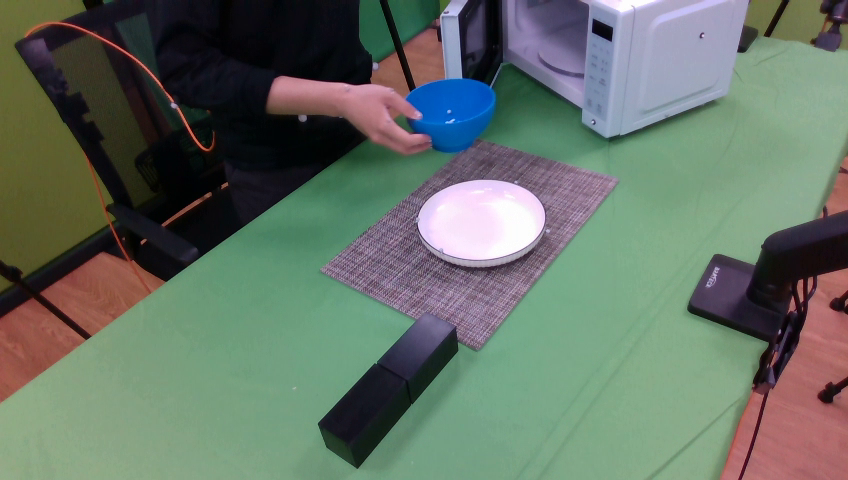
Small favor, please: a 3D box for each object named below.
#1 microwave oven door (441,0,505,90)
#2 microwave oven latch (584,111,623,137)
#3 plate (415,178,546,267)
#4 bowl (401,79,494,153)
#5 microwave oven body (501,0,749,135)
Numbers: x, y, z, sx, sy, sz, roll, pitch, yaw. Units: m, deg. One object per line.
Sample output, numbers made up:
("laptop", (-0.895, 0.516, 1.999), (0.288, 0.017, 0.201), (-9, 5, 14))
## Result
("microwave oven door", (0.108, -0.405, 1.231), (0.039, 0.245, 0.355), (7, 43, 17))
("microwave oven latch", (0.337, -0.222, 1.142), (0.030, 0.029, 0.078), (-21, 42, -14))
("plate", (0.091, -0.026, 0.970), (0.207, 0.039, 0.206), (-4, 41, 4))
("bowl", (0.042, -0.195, 0.994), (0.151, 0.077, 0.150), (-4, 41, 4))
("microwave oven body", (0.382, -0.444, 1.246), (0.327, 0.261, 0.437), (-22, 42, -16))
